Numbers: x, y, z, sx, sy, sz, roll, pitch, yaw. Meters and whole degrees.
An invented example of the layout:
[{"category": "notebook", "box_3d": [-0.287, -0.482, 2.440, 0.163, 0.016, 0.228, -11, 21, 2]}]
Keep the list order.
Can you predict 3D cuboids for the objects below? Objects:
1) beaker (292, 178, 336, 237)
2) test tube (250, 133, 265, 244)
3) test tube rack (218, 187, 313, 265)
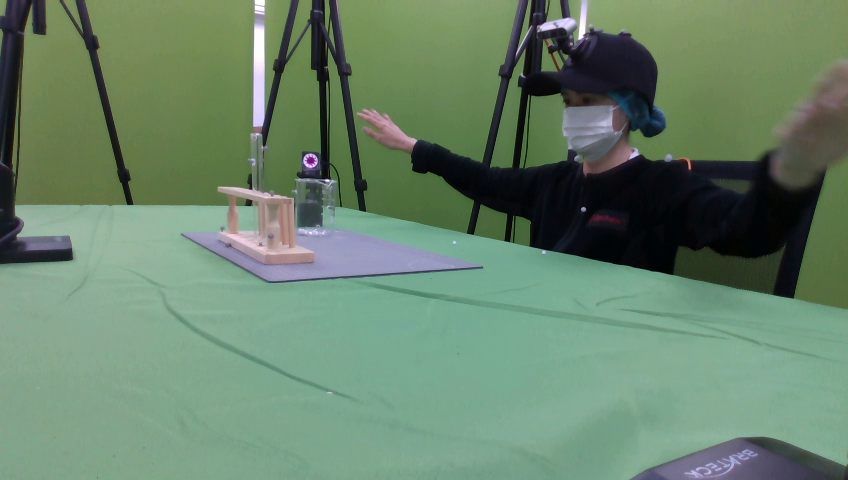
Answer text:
[{"category": "beaker", "box_3d": [-0.195, -0.058, 1.080, 0.074, 0.100, 0.083, -4, 11, -40]}, {"category": "test tube", "box_3d": [-0.227, -0.070, 0.825, 0.017, 0.150, 0.017, -1, 3, 0]}, {"category": "test tube rack", "box_3d": [-0.235, -0.027, 0.872, 0.067, 0.085, 0.241, -2, 8, -32]}]
